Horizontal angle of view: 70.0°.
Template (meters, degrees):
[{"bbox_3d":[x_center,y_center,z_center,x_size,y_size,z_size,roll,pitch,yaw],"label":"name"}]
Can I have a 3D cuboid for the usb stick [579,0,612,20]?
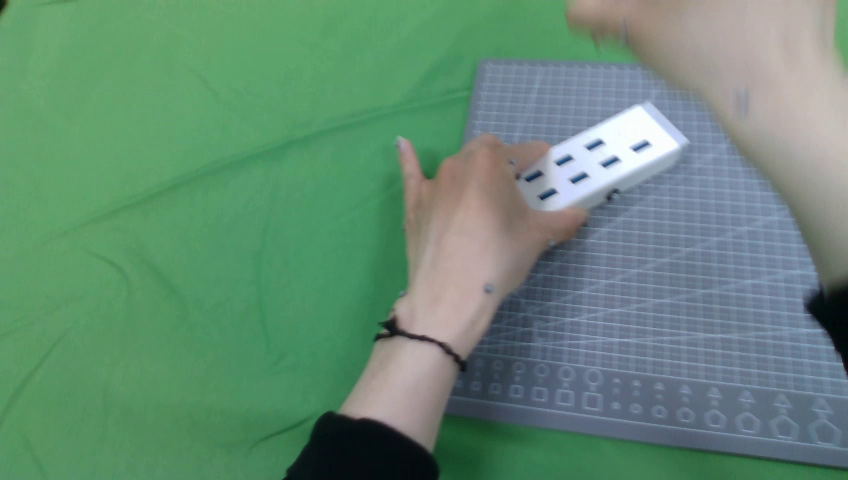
[{"bbox_3d":[0.092,-0.143,0.322,0.021,0.059,0.027,-29,70,-3],"label":"usb stick"}]

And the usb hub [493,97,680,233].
[{"bbox_3d":[0.114,-0.056,0.430,0.125,0.025,0.049,-28,54,-8],"label":"usb hub"}]
